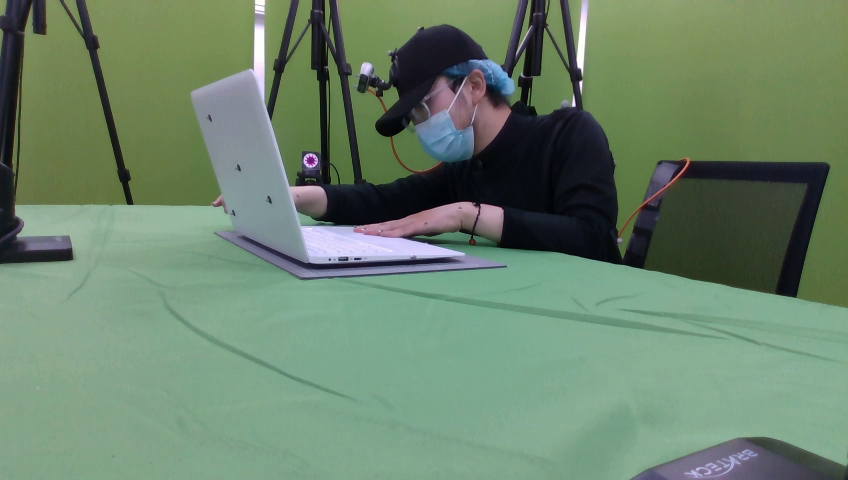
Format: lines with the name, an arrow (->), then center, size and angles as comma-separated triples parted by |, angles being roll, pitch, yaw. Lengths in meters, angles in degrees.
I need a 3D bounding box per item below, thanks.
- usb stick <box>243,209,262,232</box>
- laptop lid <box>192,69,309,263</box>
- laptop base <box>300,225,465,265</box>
usb stick -> -0.298, -0.032, 1.058 | 0.021, 0.027, 0.059 | 3, 25, -34
laptop lid -> -0.254, -0.102, 0.842 | 0.013, 0.242, 0.355 | -22, 20, -27
laptop base -> -0.128, 0.005, 0.937 | 0.237, 0.023, 0.352 | 2, 6, -32
